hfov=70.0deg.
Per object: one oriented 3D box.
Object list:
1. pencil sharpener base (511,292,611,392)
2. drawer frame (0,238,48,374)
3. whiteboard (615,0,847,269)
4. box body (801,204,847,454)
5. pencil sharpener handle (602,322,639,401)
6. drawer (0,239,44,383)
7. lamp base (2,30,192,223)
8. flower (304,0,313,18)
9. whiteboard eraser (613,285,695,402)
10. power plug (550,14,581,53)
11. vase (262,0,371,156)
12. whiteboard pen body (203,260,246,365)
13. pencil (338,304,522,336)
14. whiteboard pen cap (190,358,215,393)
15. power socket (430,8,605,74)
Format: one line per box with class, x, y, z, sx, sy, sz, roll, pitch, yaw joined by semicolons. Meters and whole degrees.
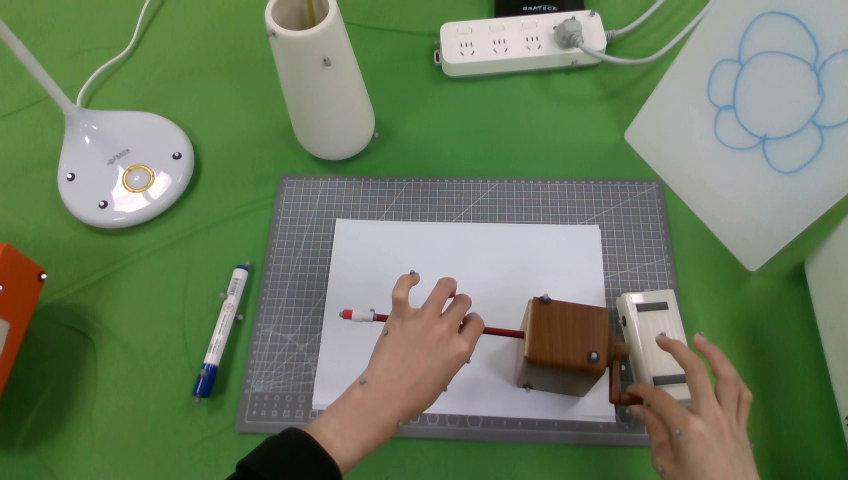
pencil sharpener base;0.126;0.099;0.568;0.076;0.108;0.061;8;64;6
drawer frame;-0.508;0.094;0.566;0.213;0.083;0.200;4;65;2
whiteboard;0.381;-0.156;0.607;0.144;0.307;0.215;-20;63;-28
box body;0.508;0.129;0.511;0.254;0.161;0.361;0;64;3
pencil sharpener handle;0.173;0.107;0.531;0.030;0.036;0.067;8;64;6
drawer;-0.502;0.092;0.564;0.211;0.074;0.193;4;65;4
lamp base;-0.373;-0.132;0.661;0.178;0.182;0.160;32;69;19
flower;-0.113;-0.231;0.597;0.038;0.365;0.043;-10;46;-10
whiteboard eraser;0.225;0.101;0.599;0.055;0.042;0.111;-4;64;-1
power plug;0.173;-0.246;0.750;0.035;0.053;0.072;5;66;5
vase;-0.117;-0.179;0.663;0.098;0.201;0.097;-2;64;3
whiteboard pen body;-0.212;0.085;0.637;0.017;0.017;0.139;5;61;5
pencil;0.018;0.075;0.550;0.194;0.012;0.012;7;64;1
whiteboard pen cap;-0.222;0.135;0.609;0.018;0.018;0.033;5;59;5
power socket;0.121;-0.258;0.784;0.227;0.033;0.071;-4;65;0
